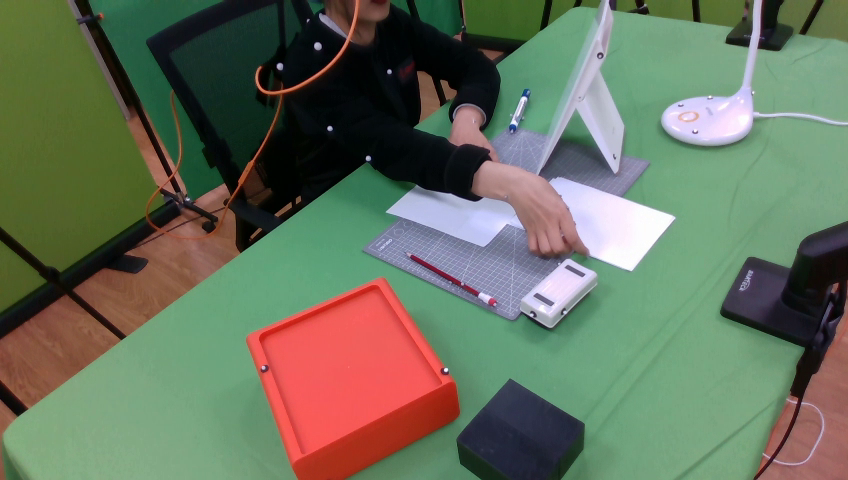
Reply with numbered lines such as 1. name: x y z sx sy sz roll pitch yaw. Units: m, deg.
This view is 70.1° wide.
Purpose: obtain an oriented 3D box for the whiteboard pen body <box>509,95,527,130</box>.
1. whiteboard pen body: 0.199 -0.272 1.262 0.017 0.017 0.140 8 44 19

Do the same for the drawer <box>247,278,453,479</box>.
1. drawer: -0.096 0.167 0.758 0.195 0.073 0.210 -22 43 -16

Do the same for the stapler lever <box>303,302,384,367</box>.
1. stapler lever: -0.108 0.123 0.805 0.118 0.040 0.026 -27 36 -15

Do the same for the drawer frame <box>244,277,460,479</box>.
1. drawer frame: -0.093 0.167 0.755 0.202 0.083 0.211 -23 43 -17

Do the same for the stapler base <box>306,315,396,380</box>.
1. stapler base: -0.101 0.138 0.819 0.131 0.024 0.041 -31 37 -13

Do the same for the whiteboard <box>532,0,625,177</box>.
1. whiteboard: 0.321 -0.258 1.050 0.144 0.306 0.217 21 45 5

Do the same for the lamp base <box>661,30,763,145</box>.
1. lamp base: 0.535 -0.287 1.096 0.179 0.181 0.159 -10 40 -4

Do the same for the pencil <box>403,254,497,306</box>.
1. pencil: 0.034 0.056 0.914 0.192 0.012 0.012 27 52 38

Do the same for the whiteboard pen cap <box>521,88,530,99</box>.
1. whiteboard pen cap: 0.218 -0.312 1.301 0.018 0.018 0.033 6 46 17

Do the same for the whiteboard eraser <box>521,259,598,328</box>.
1. whiteboard eraser: 0.189 0.076 0.843 0.055 0.042 0.113 29 53 37
